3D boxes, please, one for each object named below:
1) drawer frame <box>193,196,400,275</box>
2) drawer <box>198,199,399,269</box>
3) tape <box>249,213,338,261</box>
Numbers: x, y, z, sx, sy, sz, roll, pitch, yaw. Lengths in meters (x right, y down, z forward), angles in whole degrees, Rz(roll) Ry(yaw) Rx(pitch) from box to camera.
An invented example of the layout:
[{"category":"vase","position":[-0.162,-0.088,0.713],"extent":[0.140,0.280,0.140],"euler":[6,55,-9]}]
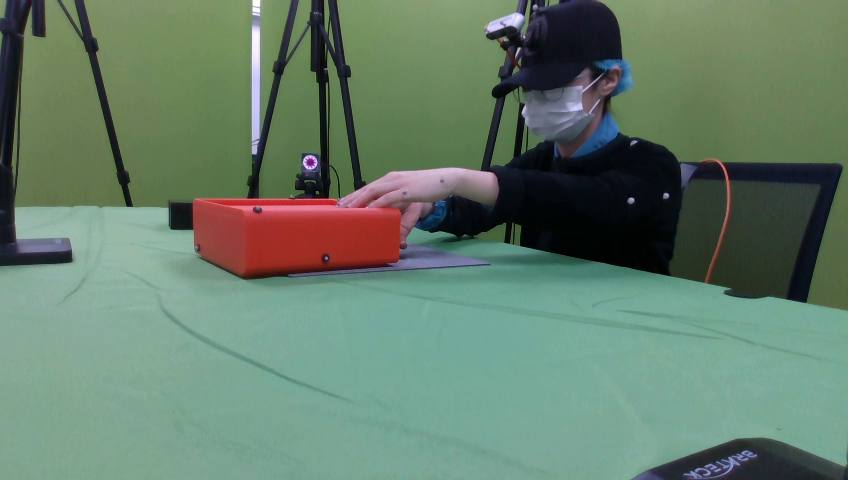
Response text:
[{"category":"drawer frame","position":[-0.173,-0.014,0.815],"extent":[0.215,0.082,0.200],"euler":[-4,10,-37]},{"category":"drawer","position":[-0.171,-0.014,0.818],"extent":[0.213,0.073,0.193],"euler":[-4,10,-36]},{"category":"tape","position":[-0.174,-0.006,0.813],"extent":[0.117,0.052,0.117],"euler":[2,7,0]}]
